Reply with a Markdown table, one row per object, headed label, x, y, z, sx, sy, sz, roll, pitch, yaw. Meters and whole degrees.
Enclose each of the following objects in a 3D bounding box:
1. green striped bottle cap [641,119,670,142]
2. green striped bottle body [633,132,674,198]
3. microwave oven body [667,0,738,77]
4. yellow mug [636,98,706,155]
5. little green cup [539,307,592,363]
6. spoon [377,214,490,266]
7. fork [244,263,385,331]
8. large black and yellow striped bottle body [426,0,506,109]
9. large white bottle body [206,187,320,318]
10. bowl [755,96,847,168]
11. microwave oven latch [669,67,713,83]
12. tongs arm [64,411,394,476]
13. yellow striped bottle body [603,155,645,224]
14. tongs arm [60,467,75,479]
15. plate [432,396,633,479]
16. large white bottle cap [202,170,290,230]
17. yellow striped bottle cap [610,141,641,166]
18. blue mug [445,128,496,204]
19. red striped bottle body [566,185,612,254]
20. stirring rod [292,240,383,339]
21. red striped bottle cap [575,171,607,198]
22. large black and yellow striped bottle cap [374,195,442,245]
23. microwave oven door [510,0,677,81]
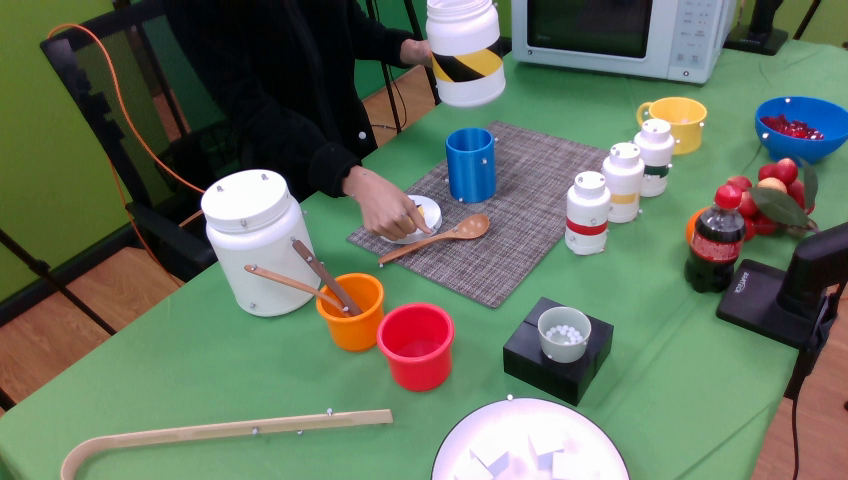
| label | x | y | z | sx | sy | sz | roll | pitch | yaw |
| --- | --- | --- | --- | --- | --- | --- | --- | --- | --- |
| green striped bottle cap | 0.371 | -0.175 | 0.968 | 0.044 | 0.020 | 0.044 | -5 | 42 | 5 |
| green striped bottle body | 0.376 | -0.135 | 1.001 | 0.063 | 0.120 | 0.063 | -5 | 40 | 5 |
| microwave oven body | 0.462 | -0.552 | 1.369 | 0.439 | 0.261 | 0.326 | 15 | 45 | 26 |
| yellow mug | 0.453 | -0.217 | 1.128 | 0.100 | 0.064 | 0.129 | -34 | 46 | -27 |
| little green cup | 0.168 | 0.115 | 0.721 | 0.061 | 0.039 | 0.061 | -4 | 42 | 4 |
| spoon | 0.015 | 0.001 | 0.966 | 0.194 | 0.021 | 0.041 | -19 | 73 | -13 |
| fork | -0.142 | 0.077 | 0.807 | 0.209 | 0.018 | 0.028 | 30 | 44 | -24 |
| large black and yellow striped bottle body | 0.076 | -0.349 | 1.102 | 0.130 | 0.185 | 0.130 | -8 | 39 | 7 |
| large white bottle body | -0.233 | 0.008 | 0.876 | 0.130 | 0.185 | 0.130 | -4 | 40 | 4 |
| bowl | 0.645 | -0.177 | 1.041 | 0.151 | 0.077 | 0.150 | -5 | 40 | 4 |
| microwave oven latch | 0.556 | -0.348 | 1.262 | 0.078 | 0.029 | 0.030 | 15 | 46 | 26 |
| tongs arm | -0.228 | 0.241 | 0.715 | 0.385 | 0.026 | 0.050 | -5 | 43 | 4 |
| yellow striped bottle body | 0.314 | -0.090 | 0.957 | 0.063 | 0.121 | 0.062 | -4 | 40 | 4 |
| tongs arm | -0.239 | 0.301 | 0.648 | 0.386 | 0.028 | 0.028 | 6 | 49 | 16 |
| plate | 0.112 | 0.261 | 0.634 | 0.209 | 0.038 | 0.208 | -5 | 40 | 4 |
| large white bottle cap | -0.242 | -0.057 | 0.822 | 0.115 | 0.018 | 0.114 | -4 | 40 | 4 |
| yellow striped bottle cap | 0.308 | -0.131 | 0.925 | 0.044 | 0.019 | 0.044 | -4 | 46 | 4 |
| blue mug | 0.083 | -0.139 | 1.058 | 0.082 | 0.106 | 0.116 | -2 | 40 | 7 |
| red striped bottle body | 0.248 | -0.041 | 0.910 | 0.063 | 0.120 | 0.062 | -4 | 41 | 4 |
| stirring rod | -0.118 | 0.068 | 0.826 | 0.176 | 0.006 | 0.014 | 49 | 59 | -4 |
| red striped bottle cap | 0.242 | -0.082 | 0.876 | 0.044 | 0.018 | 0.044 | -5 | 44 | 5 |
| large black and yellow striped bottle cap | -0.027 | -0.035 | 1.021 | 0.115 | 0.019 | 0.114 | -4 | 42 | 4 |
| microwave oven door | 0.354 | -0.478 | 1.290 | 0.353 | 0.245 | 0.039 | 15 | 45 | 25 |
